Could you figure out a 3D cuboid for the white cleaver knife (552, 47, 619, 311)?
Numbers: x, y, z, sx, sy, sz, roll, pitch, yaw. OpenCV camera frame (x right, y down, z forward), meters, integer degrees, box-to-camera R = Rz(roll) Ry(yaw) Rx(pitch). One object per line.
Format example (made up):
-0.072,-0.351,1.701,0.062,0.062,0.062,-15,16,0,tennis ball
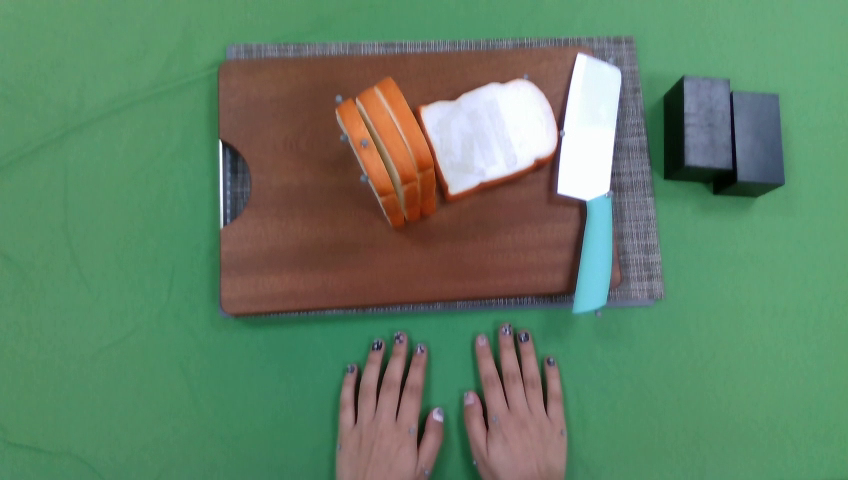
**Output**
0.163,-0.067,0.625,0.066,0.021,0.285,10,75,-6,white cleaver knife

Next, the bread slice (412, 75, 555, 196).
0.066,-0.112,0.621,0.134,0.018,0.106,-15,84,-2,bread slice

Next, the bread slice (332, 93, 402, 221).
-0.053,-0.076,0.557,0.019,0.132,0.104,-27,80,-2,bread slice
